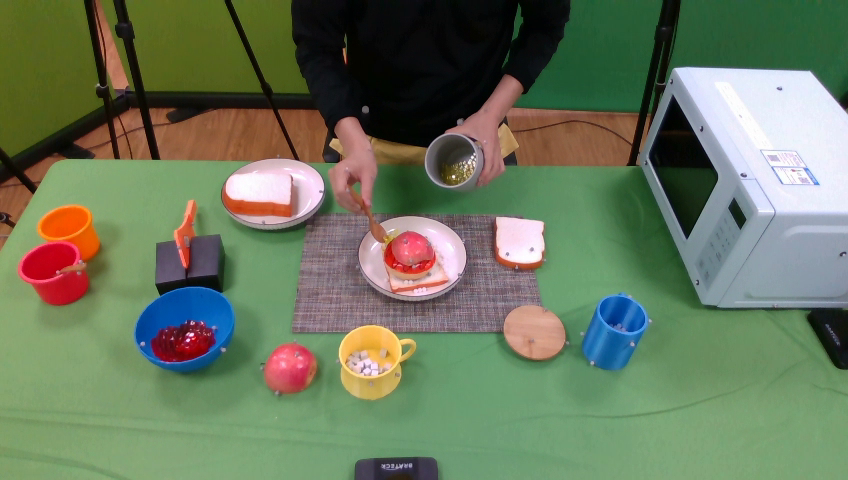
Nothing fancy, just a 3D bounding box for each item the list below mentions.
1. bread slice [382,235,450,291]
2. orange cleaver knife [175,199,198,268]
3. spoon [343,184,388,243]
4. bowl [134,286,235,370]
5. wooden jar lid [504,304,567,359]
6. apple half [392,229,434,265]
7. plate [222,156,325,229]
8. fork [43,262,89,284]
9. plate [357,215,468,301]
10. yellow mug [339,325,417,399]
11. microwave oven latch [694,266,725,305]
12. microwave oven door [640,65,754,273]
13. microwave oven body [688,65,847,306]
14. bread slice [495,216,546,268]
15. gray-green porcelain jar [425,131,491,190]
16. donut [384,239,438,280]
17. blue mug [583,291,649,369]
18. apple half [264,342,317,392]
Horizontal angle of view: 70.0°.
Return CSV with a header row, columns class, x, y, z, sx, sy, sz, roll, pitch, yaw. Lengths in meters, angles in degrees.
class,x,y,z,sx,sy,sz,roll,pitch,yaw
bread slice,-0.025,0.038,1.138,0.107,0.018,0.133,-12,47,-16
orange cleaver knife,-0.438,-0.017,1.138,0.012,0.077,0.210,-14,27,-7
spoon,-0.101,-0.049,1.064,0.021,0.195,0.041,-9,61,10
bowl,-0.377,0.155,0.981,0.151,0.077,0.150,2,46,-2
wooden jar lid,0.192,0.161,1.051,0.108,0.021,0.107,3,50,-3
apple half,-0.021,0.005,1.083,0.081,0.033,0.081,7,48,-7
plate,-0.308,-0.095,1.251,0.209,0.038,0.208,2,47,-2
fork,-0.599,0.053,1.013,0.207,0.019,0.028,-14,30,45
plate,-0.022,0.037,1.141,0.208,0.039,0.206,2,46,-2
yellow mug,-0.072,0.190,0.978,0.131,0.064,0.099,-17,50,-20
microwave oven latch,0.523,0.082,1.115,0.030,0.029,0.078,3,46,0
microwave oven door,0.523,-0.147,1.193,0.039,0.245,0.353,0,47,-3
microwave oven body,0.669,-0.111,1.176,0.326,0.261,0.439,0,46,-3
bread slice,0.194,0.002,1.204,0.105,0.019,0.131,5,45,2
gray-green porcelain jar,0.071,-0.152,1.187,0.105,0.106,0.127,22,8,17
donut,-0.024,0.029,1.109,0.099,0.048,0.098,2,46,-2
blue mug,0.324,0.142,1.023,0.082,0.106,0.116,15,47,11
apple half,-0.214,0.198,0.970,0.074,0.053,0.080,19,48,10
